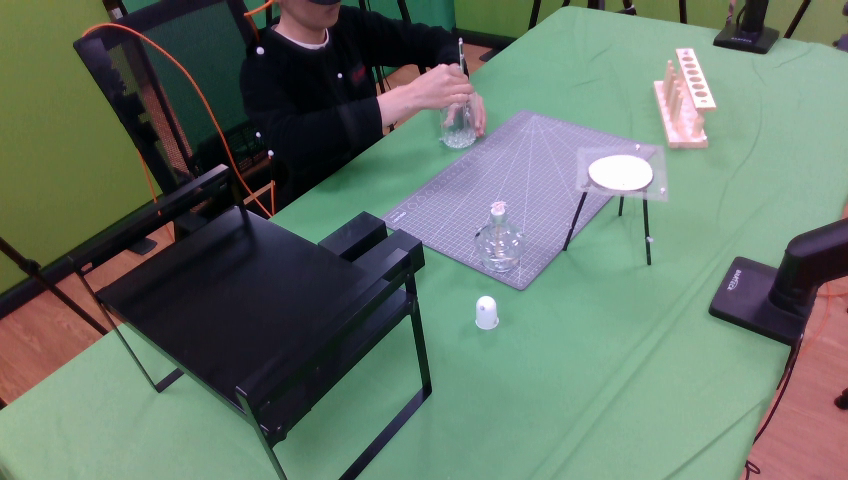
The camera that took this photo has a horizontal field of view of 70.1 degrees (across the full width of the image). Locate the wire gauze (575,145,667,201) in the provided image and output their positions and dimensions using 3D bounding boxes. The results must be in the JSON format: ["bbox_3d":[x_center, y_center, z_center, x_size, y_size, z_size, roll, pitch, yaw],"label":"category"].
[{"bbox_3d":[0.279,-0.100,0.861,0.124,0.011,0.121,5,43,14],"label":"wire gauze"}]

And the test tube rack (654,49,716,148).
[{"bbox_3d":[0.502,-0.281,1.176,0.066,0.085,0.241,2,41,11],"label":"test tube rack"}]

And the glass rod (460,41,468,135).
[{"bbox_3d":[0.078,-0.285,1.154,0.008,0.200,0.008,-4,45,4],"label":"glass rod"}]

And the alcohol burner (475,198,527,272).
[{"bbox_3d":[0.113,-0.012,0.897,0.078,0.119,0.077,-6,40,6],"label":"alcohol burner"}]

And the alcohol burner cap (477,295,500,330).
[{"bbox_3d":[0.089,0.097,0.833,0.034,0.048,0.033,-4,42,4],"label":"alcohol burner cap"}]

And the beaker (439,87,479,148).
[{"bbox_3d":[0.073,-0.239,1.184,0.073,0.101,0.084,30,53,35],"label":"beaker"}]

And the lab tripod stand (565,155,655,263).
[{"bbox_3d":[0.285,-0.046,0.901,0.148,0.132,0.147,-5,42,5],"label":"lab tripod stand"}]
